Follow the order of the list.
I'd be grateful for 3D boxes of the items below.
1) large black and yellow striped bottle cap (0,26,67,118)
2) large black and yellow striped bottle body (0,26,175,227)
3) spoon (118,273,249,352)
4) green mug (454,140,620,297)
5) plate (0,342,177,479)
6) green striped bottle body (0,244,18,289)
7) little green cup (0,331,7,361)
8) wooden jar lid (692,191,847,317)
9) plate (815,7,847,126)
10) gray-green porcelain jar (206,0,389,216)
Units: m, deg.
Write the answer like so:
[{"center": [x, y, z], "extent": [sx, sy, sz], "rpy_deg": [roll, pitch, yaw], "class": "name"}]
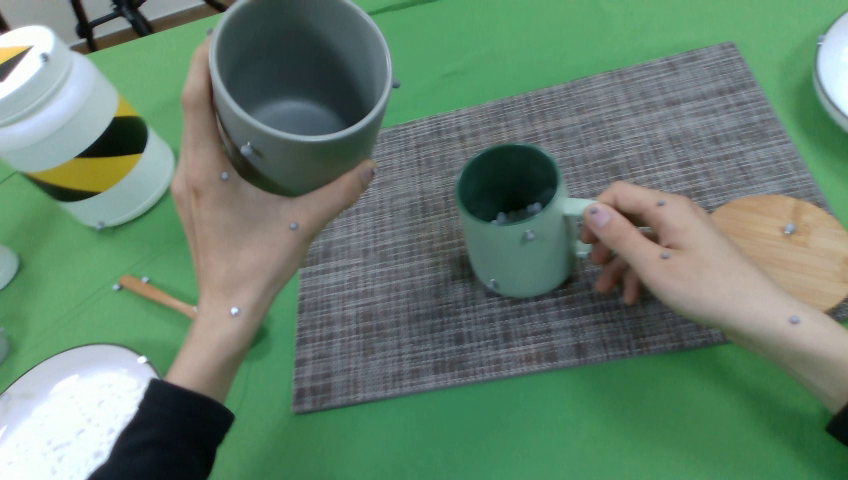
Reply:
[{"center": [-0.391, -0.157, 0.567], "extent": [0.115, 0.019, 0.114], "rpy_deg": [-8, 54, 12], "class": "large black and yellow striped bottle cap"}, {"center": [-0.370, -0.114, 0.635], "extent": [0.130, 0.186, 0.129], "rpy_deg": [-8, 56, 12], "class": "large black and yellow striped bottle body"}, {"center": [-0.235, 0.060, 0.579], "extent": [0.192, 0.022, 0.041], "rpy_deg": [18, 81, 27], "class": "spoon"}, {"center": [0.088, -0.012, 0.471], "extent": [0.125, 0.106, 0.092], "rpy_deg": [8, 59, 22], "class": "green mug"}, {"center": [-0.297, 0.187, 0.505], "extent": [0.209, 0.038, 0.207], "rpy_deg": [-8, 55, 12], "class": "plate"}, {"center": [-0.501, 0.007, 0.637], "extent": [0.063, 0.120, 0.062], "rpy_deg": [-8, 55, 13], "class": "green striped bottle body"}, {"center": [-0.455, 0.109, 0.605], "extent": [0.061, 0.039, 0.061], "rpy_deg": [-8, 55, 12], "class": "little green cup"}, {"center": [0.259, 0.011, 0.454], "extent": [0.108, 0.021, 0.107], "rpy_deg": [-9, 56, 14], "class": "wooden jar lid"}, {"center": [0.433, -0.135, 0.489], "extent": [0.207, 0.039, 0.205], "rpy_deg": [-8, 56, 13], "class": "plate"}, {"center": [-0.083, -0.081, 0.408], "extent": [0.106, 0.127, 0.105], "rpy_deg": [4, 69, -10], "class": "gray-green porcelain jar"}]
